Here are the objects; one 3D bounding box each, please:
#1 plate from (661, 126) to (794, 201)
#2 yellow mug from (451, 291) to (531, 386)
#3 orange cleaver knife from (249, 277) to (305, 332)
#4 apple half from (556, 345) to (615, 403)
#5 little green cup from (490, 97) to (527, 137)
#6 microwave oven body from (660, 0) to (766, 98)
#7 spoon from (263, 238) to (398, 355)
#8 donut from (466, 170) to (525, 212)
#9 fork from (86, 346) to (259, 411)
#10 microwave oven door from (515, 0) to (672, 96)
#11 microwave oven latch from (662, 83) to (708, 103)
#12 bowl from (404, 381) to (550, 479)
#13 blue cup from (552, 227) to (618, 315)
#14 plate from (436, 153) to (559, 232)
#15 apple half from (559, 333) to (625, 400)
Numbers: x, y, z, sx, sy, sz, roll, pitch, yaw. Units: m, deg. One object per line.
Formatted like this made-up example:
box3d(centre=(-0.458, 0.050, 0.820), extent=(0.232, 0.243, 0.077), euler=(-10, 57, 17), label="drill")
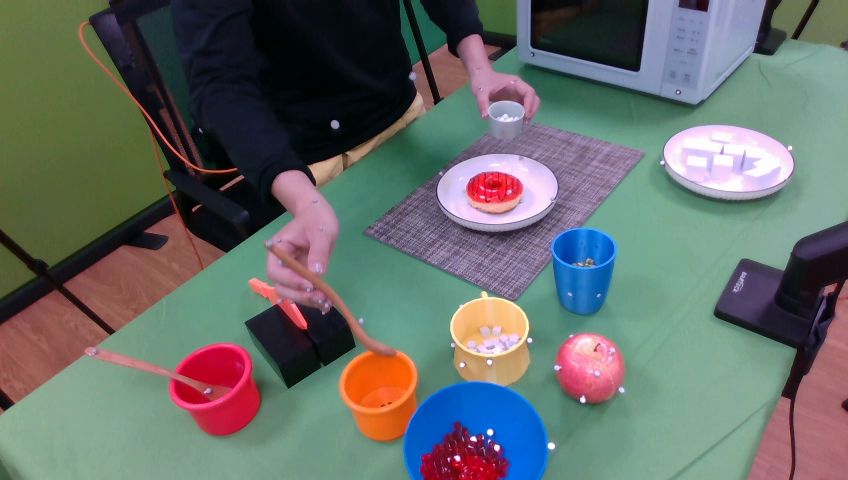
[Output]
box3d(centre=(0.513, -0.128, 1.035), extent=(0.207, 0.039, 0.206), euler=(-4, 40, 4), label="plate")
box3d(centre=(0.086, 0.120, 0.786), extent=(0.100, 0.064, 0.130), euler=(-7, 38, 1), label="yellow mug")
box3d(centre=(-0.210, 0.089, 0.855), extent=(0.012, 0.077, 0.210), euler=(-28, 15, -25), label="orange cleaver knife")
box3d(centre=(0.181, 0.167, 0.709), extent=(0.080, 0.081, 0.033), euler=(29, 50, 35), label="apple half")
box3d(centre=(0.138, -0.202, 1.005), extent=(0.062, 0.039, 0.061), euler=(3, 57, -4), label="little green cup")
box3d(centre=(0.473, -0.513, 1.317), extent=(0.438, 0.261, 0.327), euler=(26, 51, 34), label="microwave oven body")
box3d(centre=(-0.094, 0.062, 0.625), extent=(0.021, 0.195, 0.041), euler=(-45, 25, -12), label="spoon")
box3d(centre=(0.121, -0.083, 1.019), extent=(0.099, 0.048, 0.098), euler=(-4, 38, 4), label="donut")
box3d(centre=(-0.298, 0.167, 0.728), extent=(0.209, 0.018, 0.028), euler=(28, 46, -23), label="fork")
box3d(centre=(0.344, -0.455, 1.259), extent=(0.353, 0.245, 0.039), euler=(26, 51, 33), label="microwave oven door")
box3d(centre=(0.518, -0.297, 1.205), extent=(0.078, 0.029, 0.030), euler=(29, 53, 36), label="microwave oven latch")
box3d(centre=(0.058, 0.235, 0.645), extent=(0.151, 0.077, 0.150), euler=(-4, 39, 4), label="bowl")
box3d(centre=(0.218, 0.047, 0.825), extent=(0.092, 0.100, 0.092), euler=(-6, 39, 5), label="blue cup")
box3d(centre=(0.125, -0.078, 1.029), extent=(0.209, 0.038, 0.208), euler=(-4, 40, 4), label="plate")
box3d(centre=(0.209, 0.147, 0.730), extent=(0.080, 0.075, 0.053), euler=(26, 48, 38), label="apple half")
